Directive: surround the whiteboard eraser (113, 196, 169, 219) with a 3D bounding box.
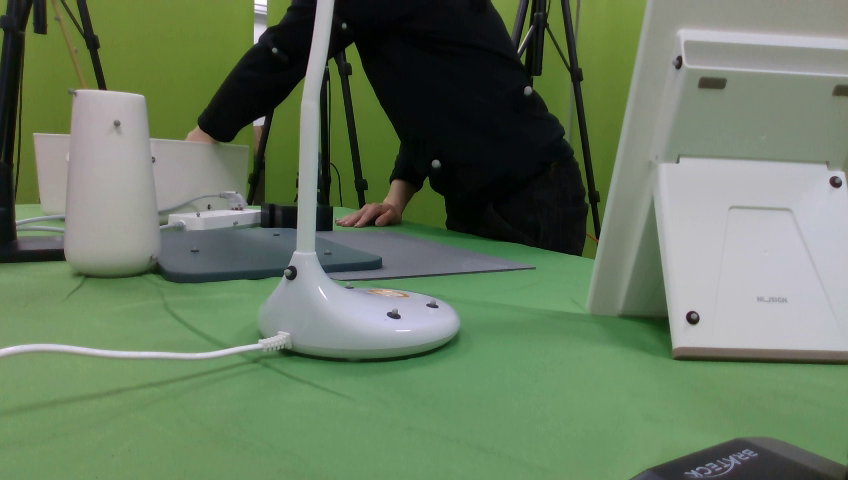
[{"bbox_3d":[-0.546,-0.064,1.173,0.055,0.042,0.113,4,5,4],"label":"whiteboard eraser"}]

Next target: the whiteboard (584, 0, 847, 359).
[{"bbox_3d":[0.269,-0.034,0.466,0.217,0.305,0.143,2,27,-1],"label":"whiteboard"}]

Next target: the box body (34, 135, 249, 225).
[{"bbox_3d":[-0.561,-0.127,1.258,0.254,0.160,0.365,4,8,13],"label":"box body"}]

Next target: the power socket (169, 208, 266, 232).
[{"bbox_3d":[-0.379,-0.038,1.129,0.072,0.032,0.227,4,8,18],"label":"power socket"}]

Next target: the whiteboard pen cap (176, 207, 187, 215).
[{"bbox_3d":[-0.511,-0.062,1.273,0.018,0.018,0.033,1,8,-9],"label":"whiteboard pen cap"}]

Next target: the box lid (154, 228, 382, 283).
[{"bbox_3d":[-0.250,0.014,0.852,0.265,0.015,0.369,-3,9,-32],"label":"box lid"}]

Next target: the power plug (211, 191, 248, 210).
[{"bbox_3d":[-0.384,-0.071,1.206,0.072,0.052,0.035,2,8,28],"label":"power plug"}]

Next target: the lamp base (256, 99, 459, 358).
[{"bbox_3d":[-0.055,-0.013,0.462,0.160,0.180,0.180,6,11,27],"label":"lamp base"}]

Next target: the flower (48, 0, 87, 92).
[{"bbox_3d":[-0.361,-0.141,0.658,0.038,0.361,0.044,-13,11,12],"label":"flower"}]

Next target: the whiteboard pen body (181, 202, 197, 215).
[{"bbox_3d":[-0.519,-0.068,1.331,0.017,0.017,0.140,1,11,-11],"label":"whiteboard pen body"}]

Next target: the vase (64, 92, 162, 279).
[{"bbox_3d":[-0.348,-0.060,0.672,0.098,0.200,0.098,1,7,0],"label":"vase"}]
